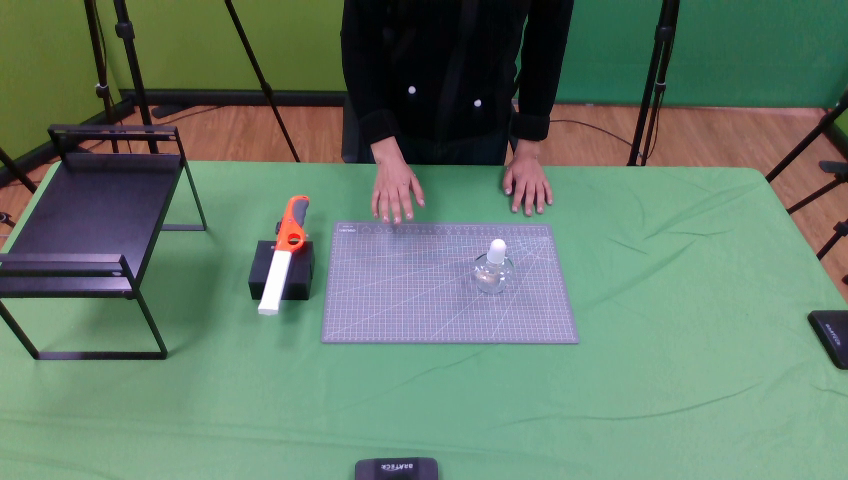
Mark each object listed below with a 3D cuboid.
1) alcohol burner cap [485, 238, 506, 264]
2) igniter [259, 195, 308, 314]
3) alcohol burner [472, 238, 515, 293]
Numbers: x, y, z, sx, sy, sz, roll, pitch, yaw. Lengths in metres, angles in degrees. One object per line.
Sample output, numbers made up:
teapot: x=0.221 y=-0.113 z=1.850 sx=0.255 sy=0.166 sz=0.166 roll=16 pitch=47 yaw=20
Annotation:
alcohol burner cap: x=0.129 y=0.017 z=1.076 sx=0.034 sy=0.048 sz=0.033 roll=3 pitch=53 yaw=-4
igniter: x=-0.252 y=0.016 z=1.094 sx=0.057 sy=0.025 sz=0.275 roll=6 pitch=48 yaw=-3
alcohol burner: x=0.128 y=0.041 z=1.101 sx=0.078 sy=0.120 sz=0.077 roll=1 pitch=47 yaw=-1
